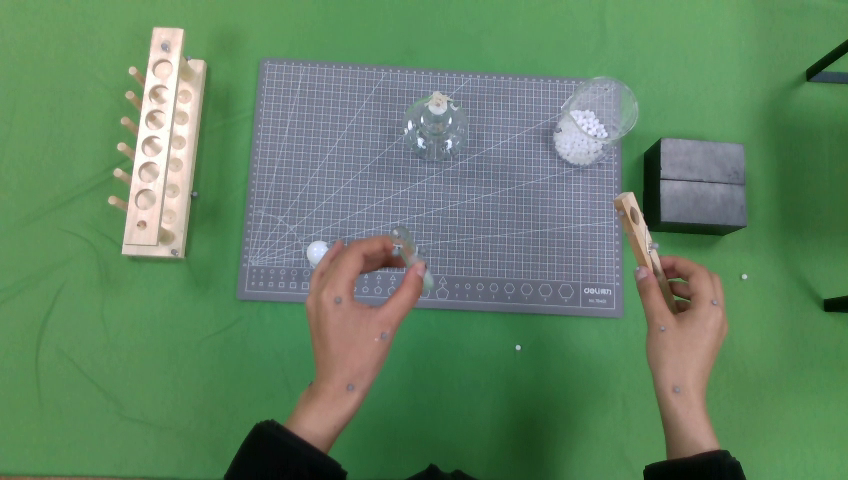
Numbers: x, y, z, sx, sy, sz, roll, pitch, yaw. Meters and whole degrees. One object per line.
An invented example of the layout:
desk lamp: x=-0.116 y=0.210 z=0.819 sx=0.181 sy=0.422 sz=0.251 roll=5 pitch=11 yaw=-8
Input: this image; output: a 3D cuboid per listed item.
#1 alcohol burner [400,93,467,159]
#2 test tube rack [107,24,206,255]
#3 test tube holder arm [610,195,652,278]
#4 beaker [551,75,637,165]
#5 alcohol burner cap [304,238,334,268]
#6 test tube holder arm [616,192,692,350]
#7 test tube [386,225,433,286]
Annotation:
alcohol burner: x=0.012 y=-0.137 z=0.685 sx=0.078 sy=0.119 sz=0.077 roll=0 pitch=80 yaw=-1
test tube rack: x=-0.304 y=-0.110 z=0.680 sx=0.067 sy=0.085 sz=0.241 roll=3 pitch=79 yaw=-2
test tube holder arm: x=0.200 y=-0.003 z=0.577 sx=0.010 sy=0.015 sz=0.088 roll=-31 pitch=105 yaw=-10
beaker: x=0.189 y=-0.134 z=0.702 sx=0.084 sy=0.100 sz=0.073 roll=2 pitch=79 yaw=-1
alcohol burner cap: x=-0.121 y=0.013 z=0.687 sx=0.034 sy=0.048 sz=0.033 roll=1 pitch=80 yaw=-4
test tube holder arm: x=0.226 y=0.033 z=0.590 sx=0.013 sy=0.015 sz=0.179 roll=-32 pitch=106 yaw=-10
test tube: x=-0.009 y=0.017 z=0.518 sx=0.017 sy=0.151 sz=0.017 roll=-2 pitch=73 yaw=8
